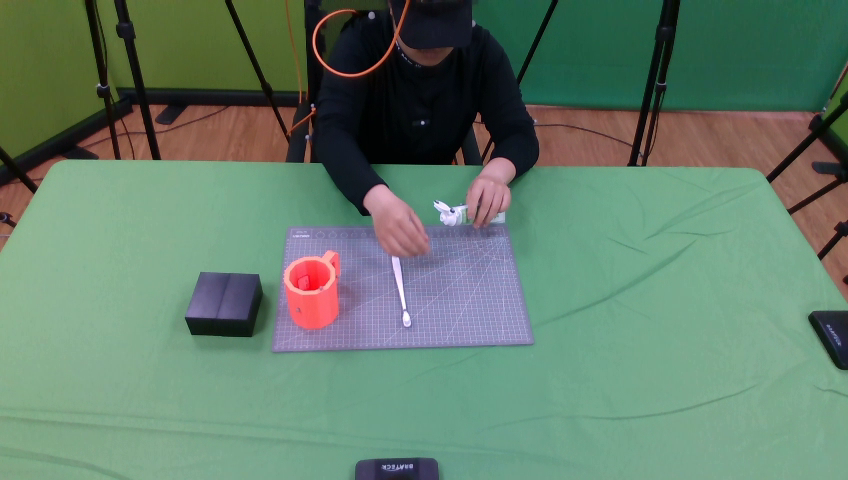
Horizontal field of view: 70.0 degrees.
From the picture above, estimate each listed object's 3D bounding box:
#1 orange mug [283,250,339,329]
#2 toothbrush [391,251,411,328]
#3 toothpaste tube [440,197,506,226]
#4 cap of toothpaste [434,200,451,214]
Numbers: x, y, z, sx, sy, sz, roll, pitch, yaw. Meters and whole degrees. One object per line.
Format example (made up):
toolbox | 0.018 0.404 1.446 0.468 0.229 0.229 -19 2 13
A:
orange mug | -0.186 0.079 1.052 0.083 0.101 0.126 20 52 15
toothbrush | -0.044 0.085 1.112 0.014 0.017 0.180 -13 46 0
toothpaste tube | 0.098 -0.053 1.173 0.165 0.055 0.034 -7 21 -36
cap of toothpaste | 0.033 -0.059 1.109 0.037 0.011 0.037 28 23 -13
